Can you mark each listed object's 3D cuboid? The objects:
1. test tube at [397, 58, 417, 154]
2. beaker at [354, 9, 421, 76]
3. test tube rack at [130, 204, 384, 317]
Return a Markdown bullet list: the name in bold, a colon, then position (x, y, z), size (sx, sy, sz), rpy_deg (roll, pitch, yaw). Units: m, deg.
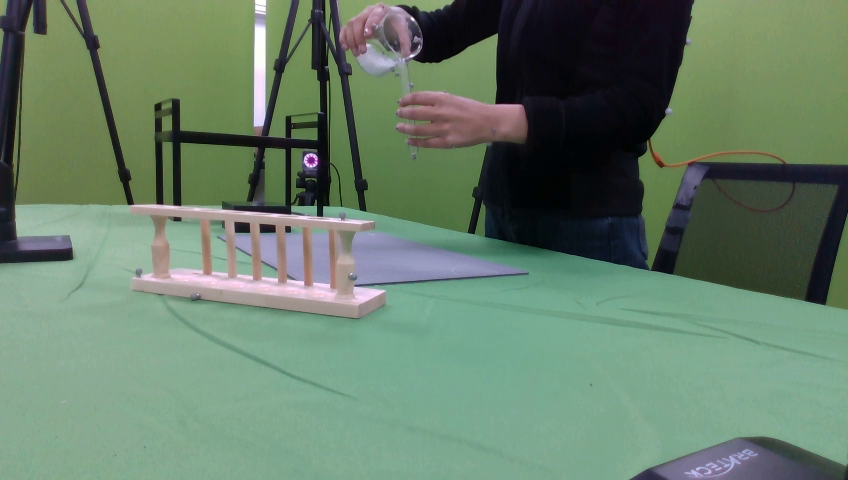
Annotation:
- **test tube**: position (-0.026, -0.205, 0.921), size (0.017, 0.150, 0.017), rpy_deg (-7, -7, 0)
- **beaker**: position (-0.062, -0.310, 0.972), size (0.074, 0.084, 0.100), rpy_deg (3, -8, -34)
- **test tube rack**: position (-0.163, 0.013, 0.589), size (0.242, 0.085, 0.067), rpy_deg (5, 8, 17)
